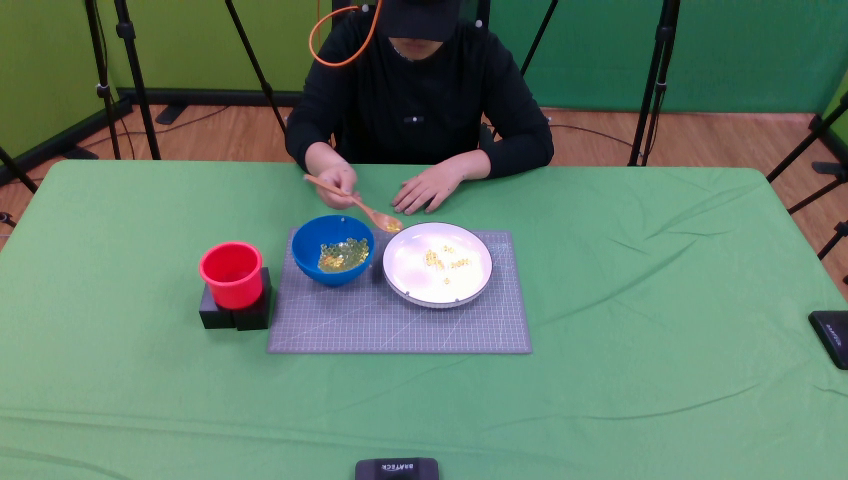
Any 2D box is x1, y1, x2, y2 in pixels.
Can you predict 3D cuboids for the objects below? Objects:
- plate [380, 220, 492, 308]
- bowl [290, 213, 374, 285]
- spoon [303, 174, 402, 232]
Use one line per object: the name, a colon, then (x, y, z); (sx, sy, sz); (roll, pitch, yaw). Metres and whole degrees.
plate: (0.022, 0.048, 1.137); (0.208, 0.039, 0.206); (2, 46, -2)
bowl: (-0.166, 0.030, 1.113); (0.151, 0.077, 0.150); (2, 46, -2)
spoon: (-0.125, -0.068, 1.069); (0.194, 0.021, 0.041); (33, 44, -15)
